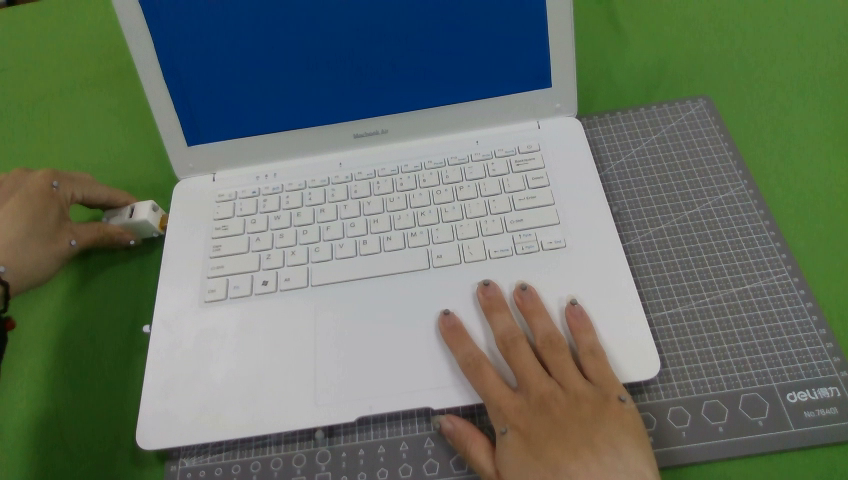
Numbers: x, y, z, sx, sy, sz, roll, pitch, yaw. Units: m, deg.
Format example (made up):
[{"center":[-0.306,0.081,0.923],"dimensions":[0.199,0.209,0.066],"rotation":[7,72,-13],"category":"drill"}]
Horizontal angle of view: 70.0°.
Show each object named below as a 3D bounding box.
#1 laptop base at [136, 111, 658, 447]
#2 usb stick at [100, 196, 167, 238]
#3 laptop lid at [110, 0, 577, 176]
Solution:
[{"center":[-0.031,0.018,0.463],"dimensions":[0.354,0.023,0.233],"rotation":[-9,59,3],"category":"laptop base"},{"center":[-0.234,-0.020,0.505],"dimensions":[0.059,0.027,0.021],"rotation":[-7,55,7],"category":"usb stick"},{"center":[-0.062,-0.181,0.473],"dimensions":[0.357,0.243,0.013],"rotation":[-10,27,3],"category":"laptop lid"}]
